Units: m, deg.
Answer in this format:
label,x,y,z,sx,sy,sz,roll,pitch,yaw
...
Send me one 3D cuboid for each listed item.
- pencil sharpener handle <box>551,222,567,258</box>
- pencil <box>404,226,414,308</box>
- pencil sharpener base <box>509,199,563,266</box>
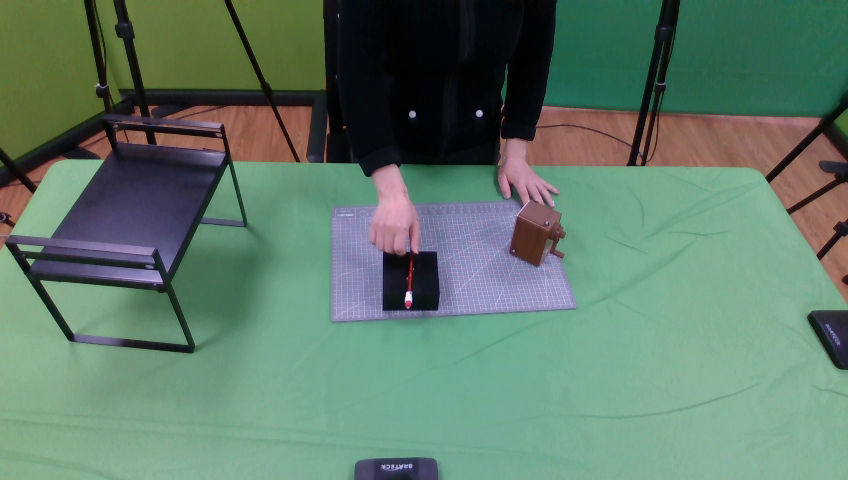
label,x,y,z,sx,sy,sz,roll,pitch,yaw
pencil sharpener handle,0.258,0.002,1.132,0.030,0.068,0.036,27,42,21
pencil,-0.025,0.043,1.089,0.012,0.012,0.193,3,47,-1
pencil sharpener base,0.216,-0.012,1.160,0.076,0.107,0.061,27,50,21
